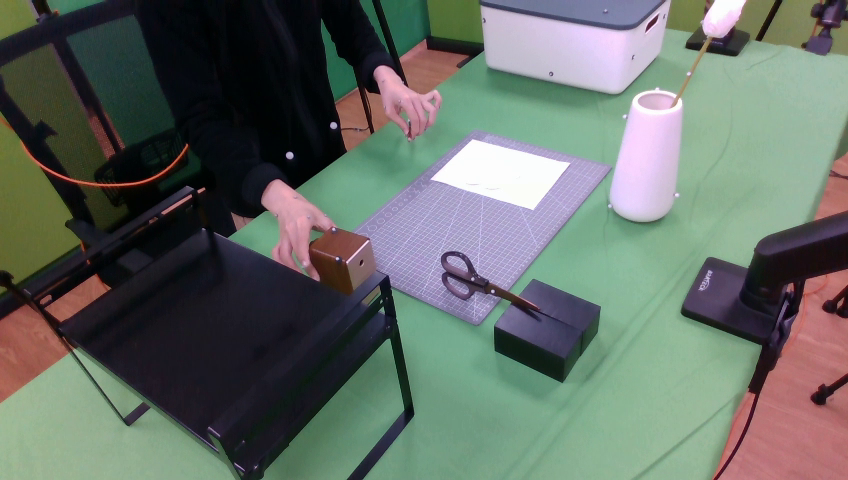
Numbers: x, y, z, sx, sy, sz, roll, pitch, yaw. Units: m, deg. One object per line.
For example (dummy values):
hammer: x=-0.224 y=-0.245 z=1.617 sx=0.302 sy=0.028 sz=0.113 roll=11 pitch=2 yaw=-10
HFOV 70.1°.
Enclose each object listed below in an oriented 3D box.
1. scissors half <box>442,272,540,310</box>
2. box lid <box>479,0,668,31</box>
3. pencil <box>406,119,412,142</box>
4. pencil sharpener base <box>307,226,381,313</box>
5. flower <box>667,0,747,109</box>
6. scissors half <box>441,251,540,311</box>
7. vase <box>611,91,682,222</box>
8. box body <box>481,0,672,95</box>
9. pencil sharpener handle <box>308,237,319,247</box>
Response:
scissors half: x=0.089 y=0.074 z=0.832 sx=0.013 sy=0.040 sz=0.173 roll=-24 pitch=23 yaw=-38
box lid: x=0.335 y=-0.536 z=1.331 sx=0.368 sy=0.015 sz=0.264 roll=23 pitch=49 yaw=30
pencil: x=-0.027 y=-0.208 z=1.147 sx=0.012 sy=0.012 sz=0.193 roll=-7 pitch=22 yaw=1
pencil sharpener base: x=-0.116 y=0.043 z=0.875 sx=0.076 sy=0.107 sz=0.061 roll=18 pitch=47 yaw=28
flower: x=0.354 y=-0.187 z=0.879 sx=0.038 sy=0.362 sz=0.044 roll=30 pitch=48 yaw=14
scissors half: x=0.087 y=0.056 z=0.824 sx=0.013 sy=0.040 sz=0.173 roll=-30 pitch=44 yaw=-35
vase: x=0.348 y=-0.125 z=0.935 sx=0.098 sy=0.201 sz=0.097 roll=-3 pitch=40 yaw=3
box body: x=0.341 y=-0.480 z=1.381 sx=0.361 sy=0.161 sz=0.255 roll=22 pitch=48 yaw=30
pencil sharpener handle: x=-0.159 y=0.018 z=0.892 sx=0.030 sy=0.068 sz=0.036 roll=18 pitch=59 yaw=28
